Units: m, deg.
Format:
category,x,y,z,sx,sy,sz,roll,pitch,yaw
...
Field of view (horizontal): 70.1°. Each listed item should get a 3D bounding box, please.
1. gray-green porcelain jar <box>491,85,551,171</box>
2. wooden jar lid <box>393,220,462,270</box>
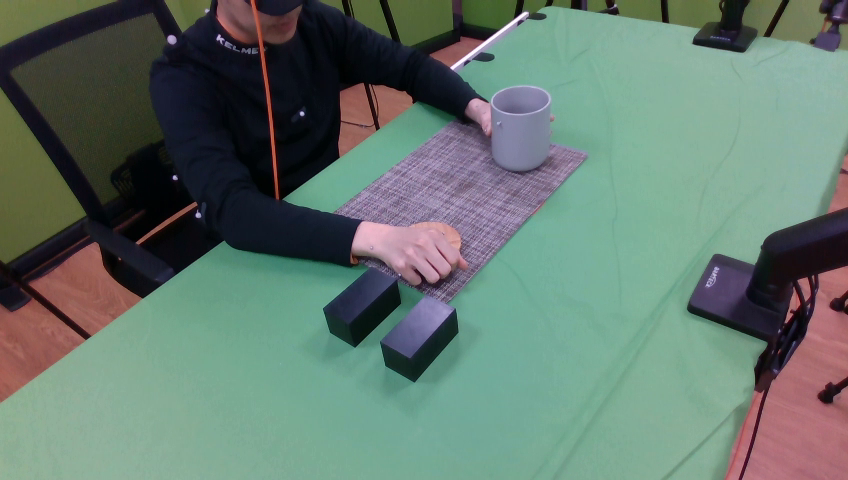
category,x,y,z,sx,sy,sz,roll,pitch,yaw
gray-green porcelain jar,0.174,-0.197,1.087,0.106,0.127,0.105,-4,42,4
wooden jar lid,0.006,0.010,0.951,0.108,0.021,0.108,-4,39,4
